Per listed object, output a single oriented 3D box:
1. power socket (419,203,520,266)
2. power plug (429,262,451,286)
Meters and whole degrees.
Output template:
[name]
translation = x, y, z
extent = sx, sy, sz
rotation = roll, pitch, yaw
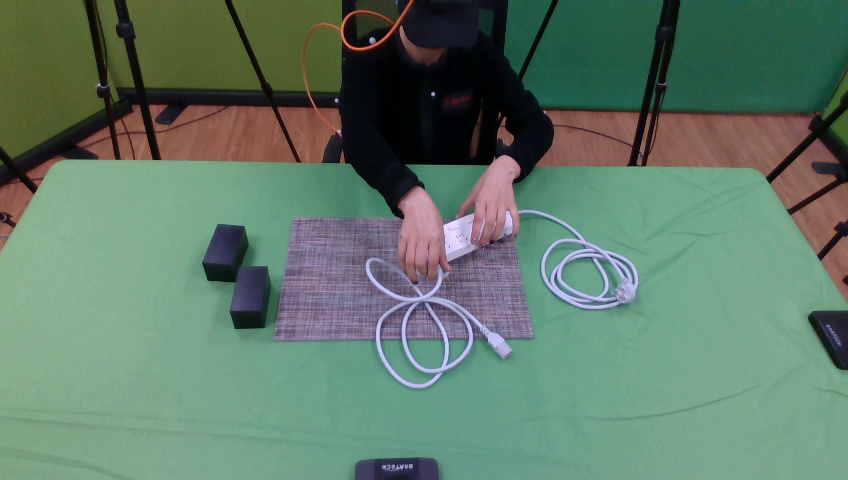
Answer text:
[power socket]
translation = 0.092, -0.014, 1.204
extent = 0.227, 0.033, 0.072
rotation = -22, 52, -24
[power plug]
translation = 0.029, 0.070, 1.073
extent = 0.035, 0.053, 0.072
rotation = -27, 29, 18
